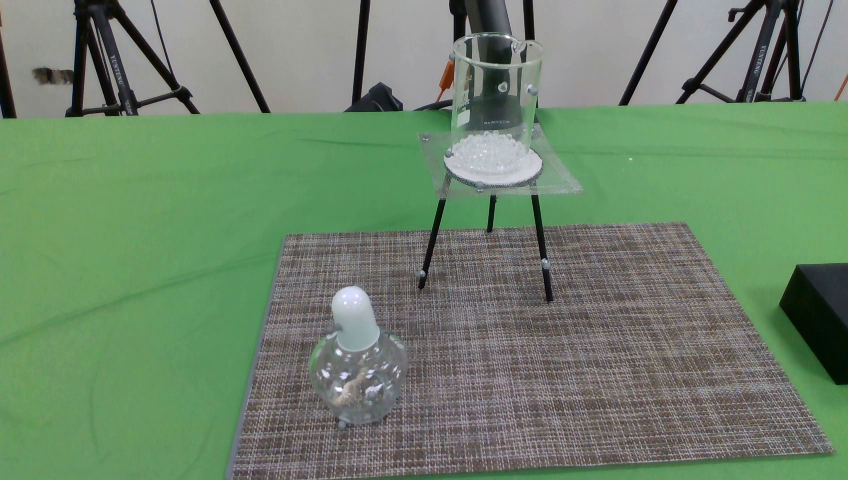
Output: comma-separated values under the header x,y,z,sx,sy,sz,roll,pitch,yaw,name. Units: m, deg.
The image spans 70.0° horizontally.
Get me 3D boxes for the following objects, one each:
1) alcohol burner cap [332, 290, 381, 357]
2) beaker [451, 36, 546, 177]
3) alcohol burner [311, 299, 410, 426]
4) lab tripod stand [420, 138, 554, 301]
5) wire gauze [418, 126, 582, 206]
x,y,z,sx,sy,sz,roll,pitch,yaw,name
-0.051,0.057,0.438,0.034,0.048,0.033,-5,35,4,alcohol burner cap
0.061,-0.112,0.514,0.073,0.101,0.084,21,41,23,beaker
-0.049,0.086,0.460,0.078,0.120,0.077,1,39,0,alcohol burner
0.067,-0.018,0.580,0.148,0.132,0.147,1,37,-1,lab tripod stand
0.063,-0.068,0.537,0.125,0.011,0.120,-2,39,-9,wire gauze
